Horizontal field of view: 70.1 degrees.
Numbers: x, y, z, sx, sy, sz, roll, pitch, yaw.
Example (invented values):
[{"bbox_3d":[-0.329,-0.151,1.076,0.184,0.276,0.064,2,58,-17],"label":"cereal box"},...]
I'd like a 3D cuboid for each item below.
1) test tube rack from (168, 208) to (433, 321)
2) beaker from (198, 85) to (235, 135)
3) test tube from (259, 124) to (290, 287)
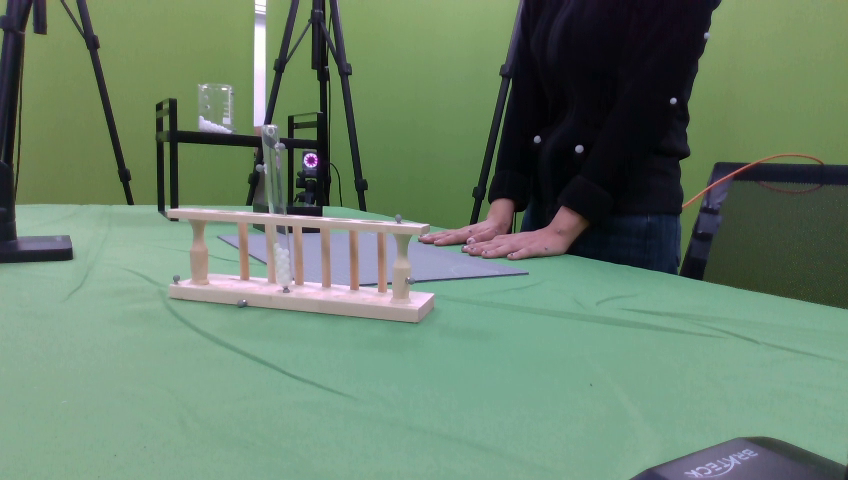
[{"bbox_3d":[-0.115,0.017,0.574,0.242,0.085,0.067,4,8,13],"label":"test tube rack"},{"bbox_3d":[-0.439,-0.273,1.275,0.074,0.100,0.084,5,8,20],"label":"beaker"},{"bbox_3d":[-0.137,-0.031,0.556,0.017,0.150,0.017,-4,7,1],"label":"test tube"}]
